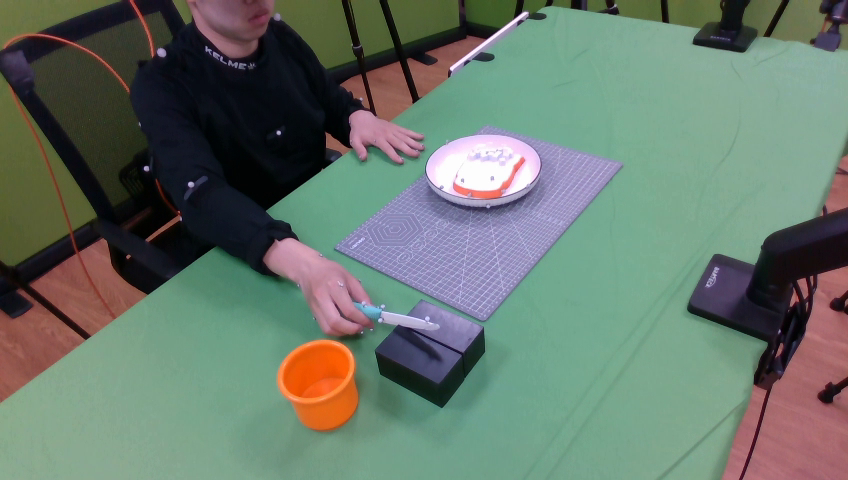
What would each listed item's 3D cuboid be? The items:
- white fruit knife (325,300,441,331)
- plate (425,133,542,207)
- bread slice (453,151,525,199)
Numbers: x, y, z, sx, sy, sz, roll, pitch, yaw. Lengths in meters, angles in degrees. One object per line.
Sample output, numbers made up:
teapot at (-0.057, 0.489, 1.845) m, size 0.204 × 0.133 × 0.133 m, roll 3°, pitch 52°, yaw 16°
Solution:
white fruit knife at (-0.059, 0.100, 0.799) m, size 0.206 × 0.027 × 0.016 m, roll 4°, pitch 40°, yaw 38°
plate at (0.106, -0.121, 1.079) m, size 0.209 × 0.038 × 0.208 m, roll -4°, pitch 41°, yaw 4°
bread slice at (0.112, -0.118, 1.079) m, size 0.104 × 0.019 × 0.131 m, roll 11°, pitch 42°, yaw 21°
